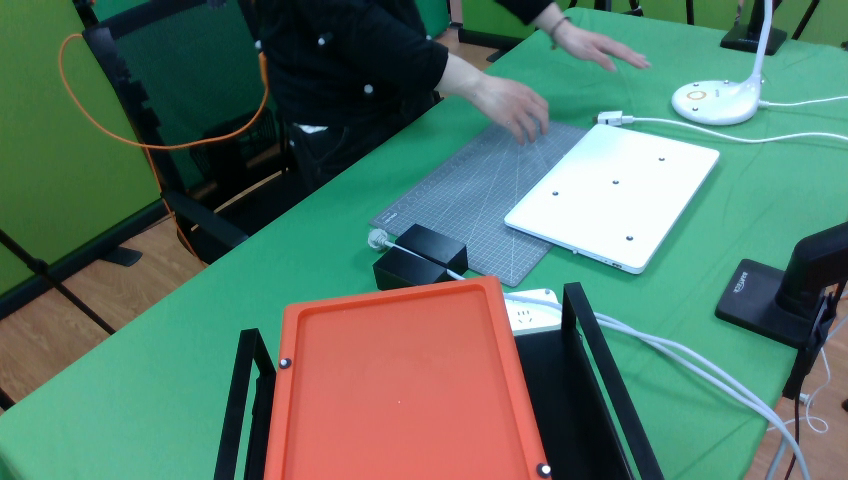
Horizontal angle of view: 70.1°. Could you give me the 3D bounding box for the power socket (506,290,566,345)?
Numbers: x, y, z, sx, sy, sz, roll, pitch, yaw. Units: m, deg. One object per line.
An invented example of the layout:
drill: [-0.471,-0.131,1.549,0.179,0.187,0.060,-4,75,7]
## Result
power socket: [0.081,0.112,0.822,0.227,0.033,0.072,-7,41,0]

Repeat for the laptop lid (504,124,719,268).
laptop lid: [0.323,-0.093,1.021,0.240,0.013,0.358,23,49,32]

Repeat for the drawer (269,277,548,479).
drawer: [-0.018,0.137,0.493,0.195,0.073,0.210,-7,41,-1]

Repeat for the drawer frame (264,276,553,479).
drawer frame: [-0.016,0.137,0.490,0.202,0.083,0.212,-8,41,-1]

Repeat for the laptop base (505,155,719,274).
laptop base: [0.326,-0.083,1.028,0.233,0.023,0.355,21,48,32]

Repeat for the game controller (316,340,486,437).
game controller: [-0.021,0.120,0.533,0.155,0.052,0.096,-3,38,1]

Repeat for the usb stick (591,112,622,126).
usb stick: [0.360,-0.239,1.197,0.059,0.021,0.027,4,41,26]

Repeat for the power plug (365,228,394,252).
power plug: [-0.068,0.010,0.954,0.035,0.053,0.072,-38,51,1]

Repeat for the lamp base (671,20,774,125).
lamp base: [0.581,-0.332,1.154,0.179,0.181,0.160,2,41,7]
